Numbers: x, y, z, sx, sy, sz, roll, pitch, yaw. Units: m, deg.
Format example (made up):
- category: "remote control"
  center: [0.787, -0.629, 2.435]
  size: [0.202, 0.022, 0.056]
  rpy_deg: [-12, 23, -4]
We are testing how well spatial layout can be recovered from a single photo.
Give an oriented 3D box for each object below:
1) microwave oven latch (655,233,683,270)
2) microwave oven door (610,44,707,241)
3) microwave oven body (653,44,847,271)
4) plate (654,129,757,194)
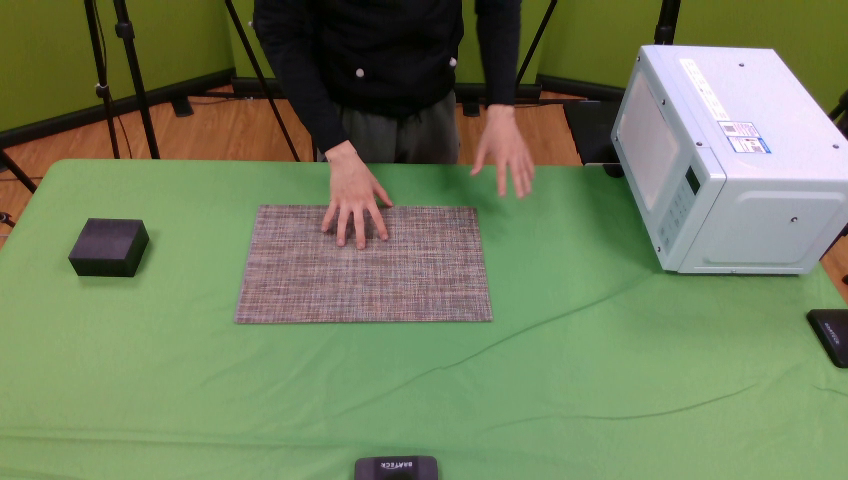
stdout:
- category: "microwave oven latch"
  center: [0.473, 0.021, 1.175]
  size: [0.030, 0.029, 0.078]
  rpy_deg: [2, 46, -1]
- category: "microwave oven door"
  center: [0.474, -0.208, 1.250]
  size: [0.039, 0.245, 0.353]
  rpy_deg: [0, 47, -3]
- category: "microwave oven body"
  center: [0.620, -0.172, 1.234]
  size: [0.326, 0.261, 0.439]
  rpy_deg: [0, 46, -3]
- category: "plate"
  center: [0.600, -0.165, 1.305]
  size: [0.209, 0.038, 0.208]
  rpy_deg: [1, 46, 0]
